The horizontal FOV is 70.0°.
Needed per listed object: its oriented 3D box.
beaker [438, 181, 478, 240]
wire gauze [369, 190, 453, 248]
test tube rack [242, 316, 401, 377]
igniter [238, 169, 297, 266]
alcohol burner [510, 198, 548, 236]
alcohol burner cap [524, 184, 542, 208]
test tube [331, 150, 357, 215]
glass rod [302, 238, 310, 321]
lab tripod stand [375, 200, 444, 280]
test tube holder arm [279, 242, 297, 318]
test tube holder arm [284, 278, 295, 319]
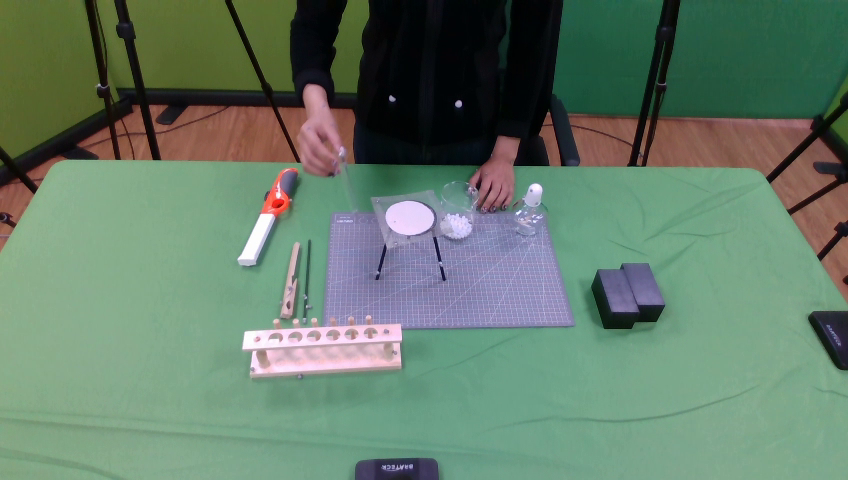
[{"bbox_3d":[0.066,-0.053,1.200,0.074,0.101,0.083,-17,50,-19],"label":"beaker"},{"bbox_3d":[-0.024,-0.042,1.064,0.121,0.011,0.124,-10,48,-16],"label":"wire gauze"},{"bbox_3d":[-0.160,0.166,0.983,0.242,0.085,0.066,-2,46,-6],"label":"test tube rack"},{"bbox_3d":[-0.313,-0.055,1.224,0.057,0.025,0.275,1,45,10],"label":"igniter"},{"bbox_3d":[0.214,-0.066,1.213,0.078,0.119,0.077,2,48,-3],"label":"alcohol burner"},{"bbox_3d":[0.216,-0.089,1.186,0.034,0.048,0.033,1,55,-1],"label":"alcohol burner cap"},{"bbox_3d":[-0.138,-0.097,1.059,0.017,0.151,0.017,-4,49,5],"label":"test tube"},{"bbox_3d":[-0.218,0.069,1.125,0.008,0.008,0.198,-2,47,-5],"label":"glass rod"},{"bbox_3d":[-0.023,0.004,1.113,0.148,0.132,0.147,4,45,-3],"label":"lab tripod stand"},{"bbox_3d":[-0.249,0.069,1.114,0.013,0.015,0.177,25,38,-27],"label":"test tube holder arm"},{"bbox_3d":[-0.241,0.103,1.085,0.010,0.015,0.087,25,38,-27],"label":"test tube holder arm"}]
